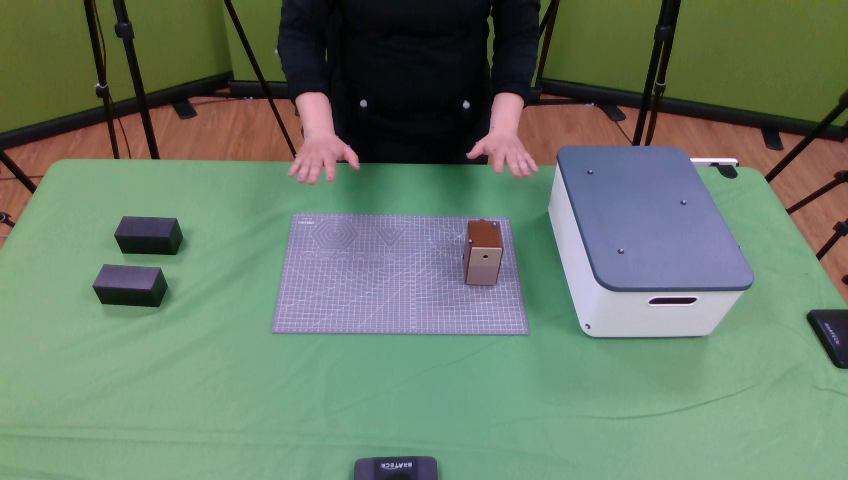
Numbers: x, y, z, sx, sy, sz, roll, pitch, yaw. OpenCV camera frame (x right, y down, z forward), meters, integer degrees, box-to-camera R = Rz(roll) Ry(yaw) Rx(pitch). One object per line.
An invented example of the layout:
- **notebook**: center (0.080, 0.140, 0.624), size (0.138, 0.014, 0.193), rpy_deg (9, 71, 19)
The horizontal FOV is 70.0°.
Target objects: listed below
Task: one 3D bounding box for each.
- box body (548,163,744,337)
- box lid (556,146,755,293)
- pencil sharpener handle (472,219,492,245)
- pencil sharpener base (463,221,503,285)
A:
- **box body**: center (0.391, -0.001, 1.130), size (0.254, 0.161, 0.361), rpy_deg (-1, 46, -4)
- **box lid**: center (0.394, -0.051, 1.075), size (0.263, 0.015, 0.369), rpy_deg (0, 46, -4)
- **pencil sharpener handle**: center (0.104, -0.021, 1.146), size (0.036, 0.068, 0.030), rpy_deg (7, 44, -8)
- **pencil sharpener base**: center (0.107, 0.024, 1.119), size (0.061, 0.107, 0.076), rpy_deg (1, 45, -2)
